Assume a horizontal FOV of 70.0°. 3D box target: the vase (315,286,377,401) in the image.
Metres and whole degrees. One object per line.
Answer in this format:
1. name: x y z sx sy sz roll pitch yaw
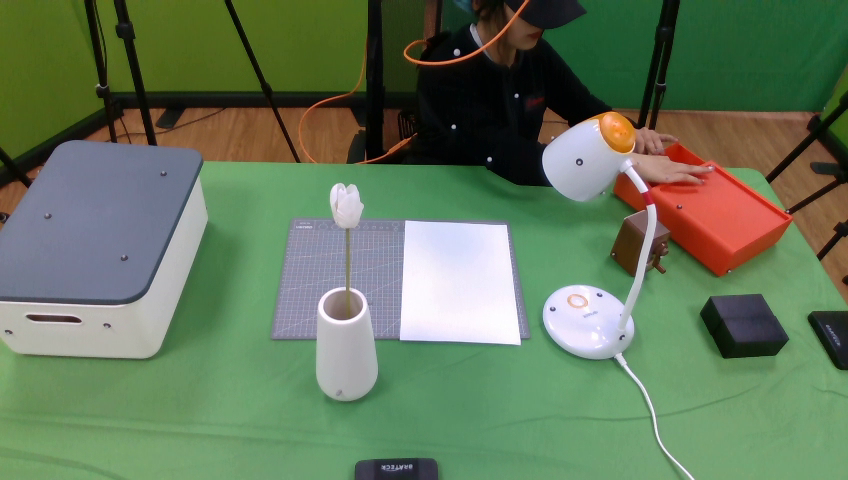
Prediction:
1. vase: -0.119 0.159 0.911 0.098 0.201 0.097 2 47 -2

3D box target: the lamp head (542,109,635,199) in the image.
1. lamp head: 0.253 -0.131 0.893 0.113 0.123 0.112 10 66 -24

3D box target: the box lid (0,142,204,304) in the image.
1. box lid: -0.534 -0.044 0.995 0.263 0.015 0.369 3 45 -3

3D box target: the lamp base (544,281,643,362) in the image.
1. lamp base: 0.303 0.095 1.014 0.161 0.181 0.178 -24 54 -24

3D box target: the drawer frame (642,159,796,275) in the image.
1. drawer frame: 0.600 -0.054 1.247 0.202 0.083 0.212 -24 52 -25

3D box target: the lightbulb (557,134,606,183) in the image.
1. lightbulb: 0.242 -0.127 0.916 0.059 0.108 0.059 5 67 -12

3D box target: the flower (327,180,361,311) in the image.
1. flower: -0.111 0.086 0.867 0.044 0.363 0.038 22 33 35

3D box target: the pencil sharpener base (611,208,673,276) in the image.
1. pencil sharpener base: 0.416 0.007 1.158 0.061 0.107 0.076 -20 51 -22

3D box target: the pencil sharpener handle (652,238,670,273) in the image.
1. pencil sharpener handle: 0.443 0.030 1.120 0.036 0.068 0.030 -24 52 -17

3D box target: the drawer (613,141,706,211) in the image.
1. drawer: 0.551 -0.105 1.296 0.194 0.073 0.210 -23 52 -25

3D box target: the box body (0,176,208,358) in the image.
1. box body: -0.546 0.017 1.045 0.254 0.161 0.361 2 46 -2

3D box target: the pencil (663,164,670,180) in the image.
1. pencil: 0.524 -0.116 1.323 0.012 0.012 0.193 18 42 14
